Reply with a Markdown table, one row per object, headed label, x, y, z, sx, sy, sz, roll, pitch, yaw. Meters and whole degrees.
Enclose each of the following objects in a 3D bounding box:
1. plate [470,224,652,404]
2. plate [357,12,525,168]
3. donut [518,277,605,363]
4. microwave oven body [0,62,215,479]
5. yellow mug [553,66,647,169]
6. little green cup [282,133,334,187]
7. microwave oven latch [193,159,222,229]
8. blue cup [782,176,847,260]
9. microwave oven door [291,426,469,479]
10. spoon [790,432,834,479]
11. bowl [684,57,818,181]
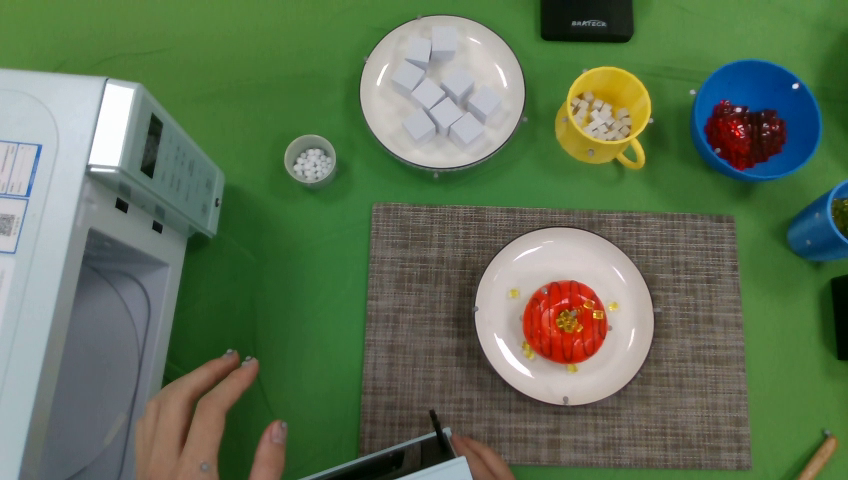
| label | x | y | z | sx | sy | sz | roll | pitch | yaw |
| --- | --- | --- | --- | --- | --- | --- | --- | --- | --- |
| plate | 0.156 | 0.085 | 0.706 | 0.209 | 0.038 | 0.208 | 0 | 79 | -1 |
| plate | 0.022 | -0.186 | 0.765 | 0.208 | 0.039 | 0.206 | 0 | 78 | -1 |
| donut | 0.157 | 0.091 | 0.694 | 0.099 | 0.048 | 0.098 | 0 | 81 | 1 |
| microwave oven body | -0.421 | 0.082 | 0.582 | 0.326 | 0.261 | 0.440 | 5 | 79 | 0 |
| yellow mug | 0.224 | -0.141 | 0.745 | 0.100 | 0.064 | 0.130 | -35 | 81 | -7 |
| little green cup | -0.139 | -0.095 | 0.741 | 0.061 | 0.039 | 0.061 | 0 | 79 | -1 |
| microwave oven latch | -0.258 | -0.055 | 0.712 | 0.030 | 0.029 | 0.079 | 6 | 79 | 0 |
| blue cup | 0.474 | -0.018 | 0.705 | 0.093 | 0.100 | 0.092 | 0 | 76 | -1 |
| microwave oven door | -0.134 | 0.250 | 0.547 | 0.356 | 0.245 | 0.039 | -18 | 77 | -5 |
| spoon | 0.403 | 0.287 | 0.680 | 0.193 | 0.022 | 0.041 | -42 | 70 | -9 |
| bowl | 0.383 | -0.136 | 0.741 | 0.151 | 0.077 | 0.150 | 0 | 78 | -1 |
